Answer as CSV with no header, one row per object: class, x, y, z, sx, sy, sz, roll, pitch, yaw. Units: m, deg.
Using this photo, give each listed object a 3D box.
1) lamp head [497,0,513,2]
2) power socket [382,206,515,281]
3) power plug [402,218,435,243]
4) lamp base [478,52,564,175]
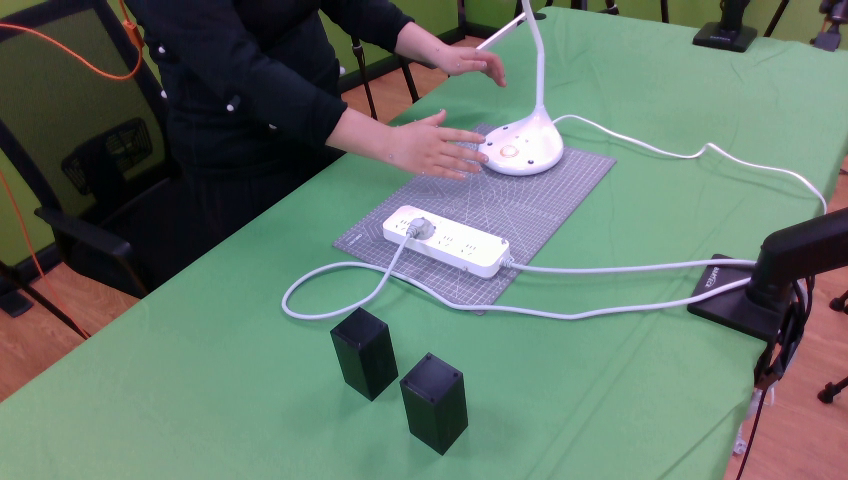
lamp head,0.120,-0.420,0.861,0.111,0.113,0.123,24,72,32
power socket,0.032,0.002,0.950,0.225,0.033,0.072,21,49,29
power plug,-0.014,-0.006,0.937,0.073,0.053,0.035,-37,48,-27
lamp base,0.181,-0.236,1.095,0.159,0.181,0.179,20,44,28
